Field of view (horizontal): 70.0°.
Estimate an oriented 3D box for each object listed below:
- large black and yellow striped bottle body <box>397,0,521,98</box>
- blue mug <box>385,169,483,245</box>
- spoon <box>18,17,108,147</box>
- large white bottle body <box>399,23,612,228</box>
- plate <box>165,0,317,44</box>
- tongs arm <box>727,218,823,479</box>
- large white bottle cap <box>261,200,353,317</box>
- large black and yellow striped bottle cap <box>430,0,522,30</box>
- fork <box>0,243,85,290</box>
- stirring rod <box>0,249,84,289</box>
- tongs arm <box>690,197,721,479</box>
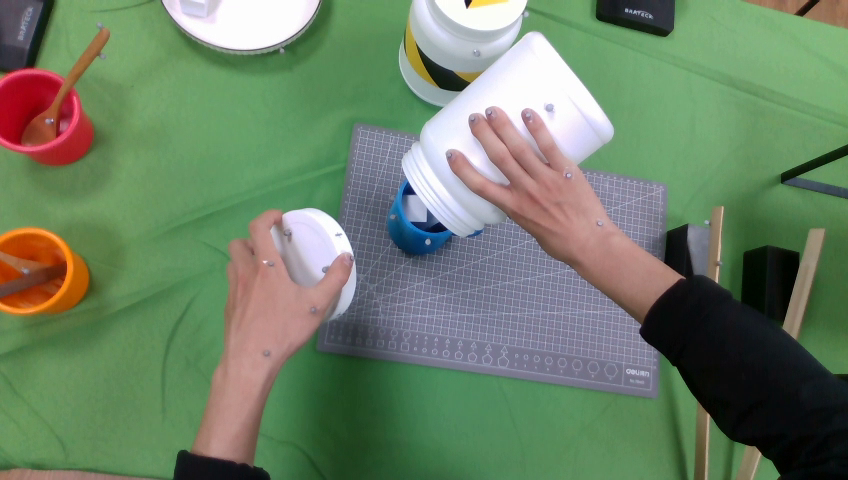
[{"bbox_3d":[0.042,-0.271,0.748,0.131,0.184,0.130,2,78,-10],"label":"large black and yellow striped bottle body"},{"bbox_3d":[0.014,-0.039,0.737,0.117,0.106,0.082,17,76,-7],"label":"blue mug"},{"bbox_3d":[-0.397,-0.171,0.664,0.194,0.021,0.041,-39,83,28],"label":"spoon"},{"bbox_3d":[0.077,-0.108,0.611,0.184,0.130,0.130,-38,87,18],"label":"large white bottle body"},{"bbox_3d":[-0.236,-0.346,0.783,0.208,0.039,0.207,2,79,-11],"label":"plate"},{"bbox_3d":[0.453,0.153,0.793,0.028,0.027,0.387,19,88,-15],"label":"tongs arm"},{"bbox_3d":[-0.117,0.019,0.592,0.018,0.114,0.114,-12,79,-54],"label":"large white bottle cap"},{"bbox_3d":[0.057,-0.289,0.668,0.115,0.019,0.114,2,80,-12],"label":"large black and yellow striped bottle cap"},{"bbox_3d":[-0.449,0.001,0.619,0.209,0.018,0.028,42,67,-46],"label":"fork"},{"bbox_3d":[-0.432,0.042,0.621,0.014,0.006,0.176,56,33,0],"label":"stirring rod"},{"bbox_3d":[0.374,0.139,0.778,0.051,0.026,0.384,5,91,-13],"label":"tongs arm"}]
